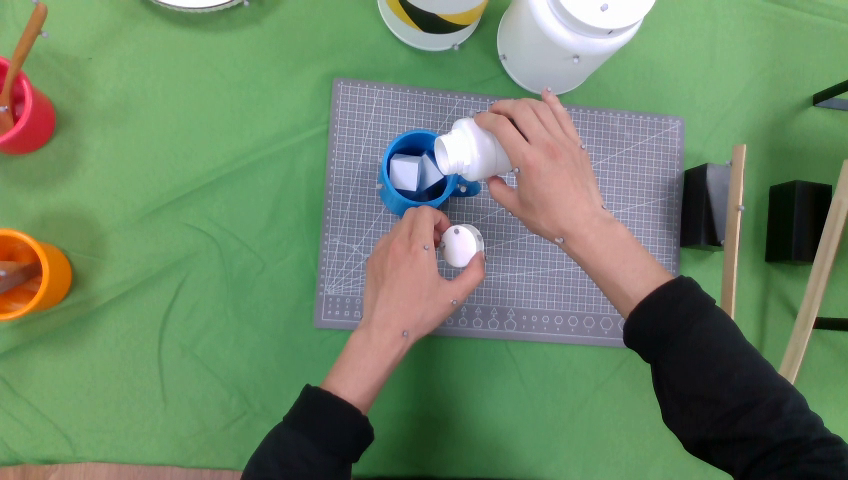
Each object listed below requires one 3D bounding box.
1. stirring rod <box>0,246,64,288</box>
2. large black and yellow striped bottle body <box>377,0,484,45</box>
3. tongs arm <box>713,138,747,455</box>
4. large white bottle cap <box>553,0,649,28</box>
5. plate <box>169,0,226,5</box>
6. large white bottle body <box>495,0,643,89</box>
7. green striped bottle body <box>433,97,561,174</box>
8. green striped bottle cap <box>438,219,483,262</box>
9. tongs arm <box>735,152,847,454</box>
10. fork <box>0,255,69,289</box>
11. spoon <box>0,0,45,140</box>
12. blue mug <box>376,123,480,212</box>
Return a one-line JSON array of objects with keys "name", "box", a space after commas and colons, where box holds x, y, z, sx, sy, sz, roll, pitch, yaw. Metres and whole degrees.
[{"name": "stirring rod", "box": [-0.439, 0.050, 0.600, 0.014, 0.006, 0.175, 52, 39, -5]}, {"name": "large black and yellow striped bottle body", "box": [0.016, -0.308, 0.659, 0.131, 0.184, 0.130, 1, 86, -7]}, {"name": "tongs arm", "box": [0.377, 0.073, 0.726, 0.051, 0.026, 0.385, 0, 98, -10]}, {"name": "large white bottle cap", "box": [0.173, -0.266, 0.593, 0.115, 0.018, 0.114, 1, 86, -8]}, {"name": "plate", "box": [-0.265, -0.369, 0.698, 0.208, 0.039, 0.207, 0, 87, -8]}, {"name": "large white bottle body", "box": [0.162, -0.259, 0.676, 0.131, 0.184, 0.130, 0, 86, -7]}, {"name": "green striped bottle body", "box": [0.070, -0.102, 0.602, 0.119, 0.063, 0.063, -13, 88, -16]}, {"name": "green striped bottle cap", "box": [0.037, 0.001, 0.611, 0.044, 0.020, 0.044, -1, 88, 31]}, {"name": "tongs arm", "box": [0.458, 0.080, 0.739, 0.028, 0.027, 0.388, 13, 97, -15]}, {"name": "fork", "box": [-0.459, 0.010, 0.593, 0.209, 0.018, 0.028, 30, 79, -48]}, {"name": "spoon", "box": [-0.417, -0.169, 0.612, 0.041, 0.021, 0.194, 51, 125, 1]}, {"name": "blue mug", "box": [0.005, -0.074, 0.682, 0.117, 0.106, 0.082, 12, 84, -7]}]
